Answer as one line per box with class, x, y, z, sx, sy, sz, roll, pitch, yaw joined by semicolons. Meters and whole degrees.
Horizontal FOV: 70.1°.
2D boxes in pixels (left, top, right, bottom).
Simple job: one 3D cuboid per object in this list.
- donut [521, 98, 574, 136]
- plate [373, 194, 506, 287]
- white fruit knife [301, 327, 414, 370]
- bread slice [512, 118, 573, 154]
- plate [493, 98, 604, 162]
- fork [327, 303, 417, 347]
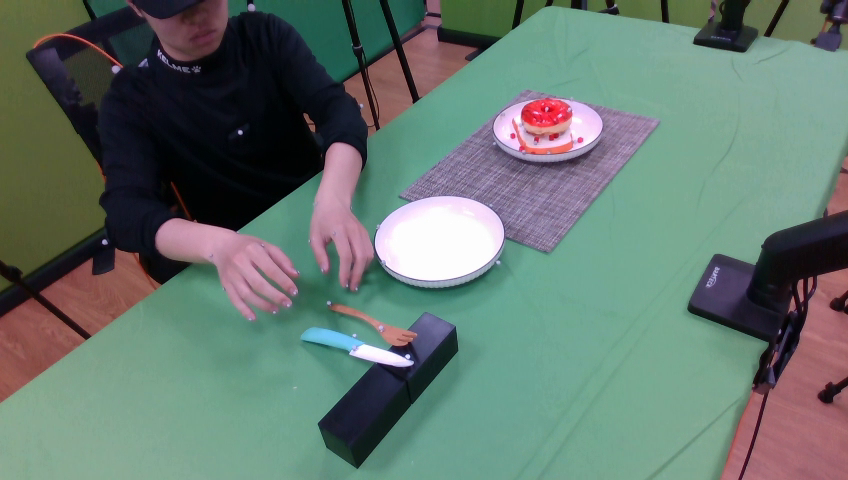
donut;0.232;-0.232;1.135;0.099;0.048;0.098;-4;41;4
plate;0.025;0.003;0.951;0.207;0.039;0.206;-4;41;4
white fruit knife;-0.088;0.140;0.781;0.205;0.016;0.027;7;41;42
bread slice;0.232;-0.204;1.160;0.105;0.019;0.131;-7;39;1
plate;0.237;-0.206;1.158;0.209;0.038;0.208;-4;40;4
fork;-0.077;0.110;0.811;0.028;0.019;0.205;-43;34;-25
